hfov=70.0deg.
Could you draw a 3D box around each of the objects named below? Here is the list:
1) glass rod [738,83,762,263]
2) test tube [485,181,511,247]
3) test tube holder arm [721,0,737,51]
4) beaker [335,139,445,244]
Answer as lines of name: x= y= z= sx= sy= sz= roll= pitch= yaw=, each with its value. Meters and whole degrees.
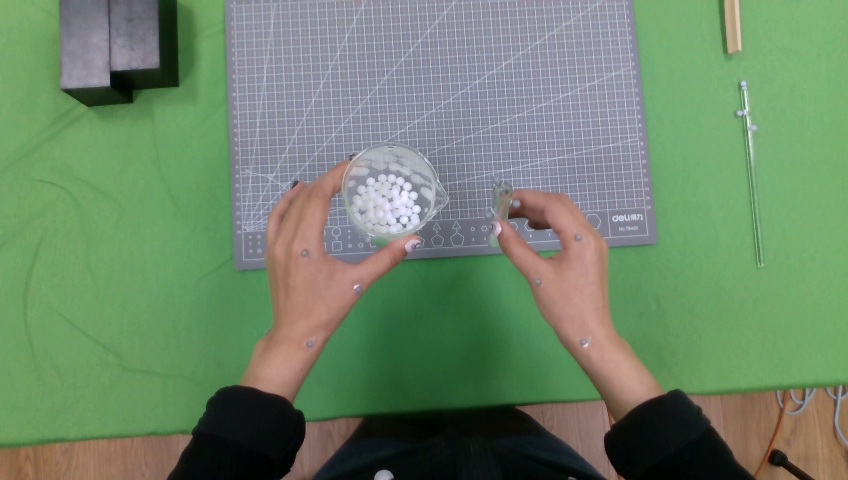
glass rod: x=0.354 y=-0.074 z=0.659 sx=0.008 sy=0.008 sz=0.199 roll=-2 pitch=84 yaw=-2
test tube: x=0.063 y=-0.019 z=0.530 sx=0.017 sy=0.151 sz=0.017 roll=-1 pitch=75 yaw=4
test tube holder arm: x=0.339 y=-0.298 z=0.675 sx=0.013 sy=0.015 sz=0.178 roll=6 pitch=83 yaw=-30
beaker: x=-0.030 y=-0.035 z=0.503 sx=0.084 sy=0.100 sz=0.074 roll=7 pitch=84 yaw=-6
